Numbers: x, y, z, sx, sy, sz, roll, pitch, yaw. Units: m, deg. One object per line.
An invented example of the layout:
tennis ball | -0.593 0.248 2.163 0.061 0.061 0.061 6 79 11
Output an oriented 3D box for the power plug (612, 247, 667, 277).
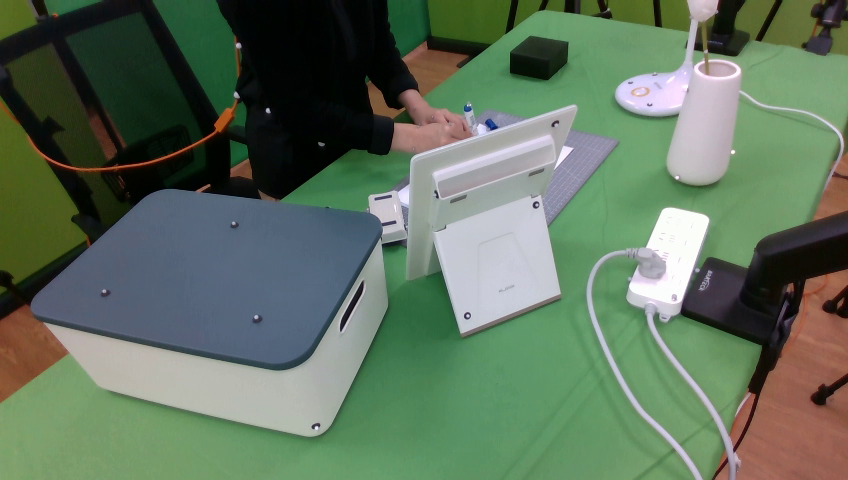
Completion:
power plug | 0.306 0.031 0.852 0.072 0.053 0.035 21 48 37

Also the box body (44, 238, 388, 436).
box body | -0.251 0.088 0.799 0.362 0.161 0.254 7 42 16

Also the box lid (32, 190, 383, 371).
box lid | -0.257 0.032 0.750 0.370 0.015 0.263 7 42 16

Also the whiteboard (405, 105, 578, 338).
whiteboard | 0.102 0.003 0.787 0.218 0.306 0.143 -19 62 -14

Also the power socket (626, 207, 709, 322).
power socket | 0.360 0.026 0.886 0.072 0.033 0.227 17 46 27

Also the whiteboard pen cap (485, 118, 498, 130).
whiteboard pen cap | 0.138 -0.232 1.229 0.018 0.018 0.033 -16 43 -10

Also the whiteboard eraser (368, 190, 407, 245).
whiteboard eraser | -0.061 -0.035 1.006 0.056 0.042 0.112 -9 40 -3

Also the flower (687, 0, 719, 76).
flower | 0.436 -0.242 0.934 0.038 0.364 0.043 -24 49 8

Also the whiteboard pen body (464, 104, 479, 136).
whiteboard pen body | 0.092 -0.189 1.091 0.017 0.142 0.017 -9 52 12

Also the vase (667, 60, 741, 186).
vase | 0.463 -0.189 0.995 0.098 0.201 0.097 -4 40 3

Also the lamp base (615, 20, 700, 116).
lamp base | 0.484 -0.364 1.211 0.180 0.181 0.159 -15 41 -14
